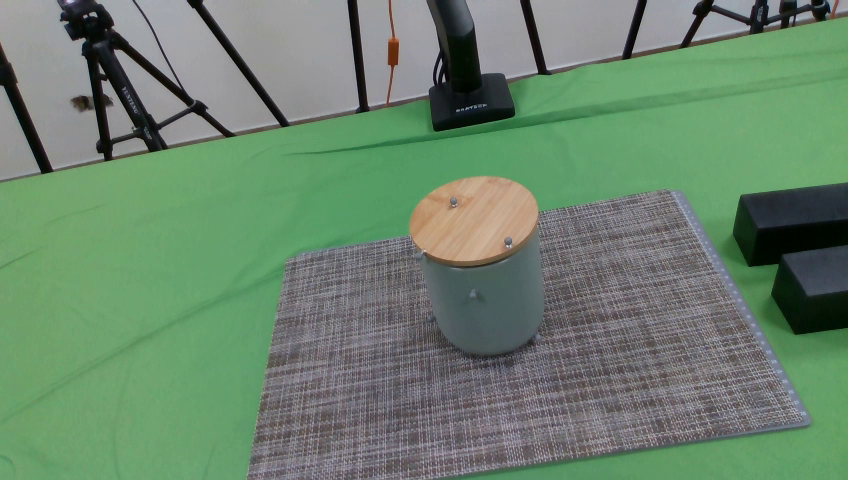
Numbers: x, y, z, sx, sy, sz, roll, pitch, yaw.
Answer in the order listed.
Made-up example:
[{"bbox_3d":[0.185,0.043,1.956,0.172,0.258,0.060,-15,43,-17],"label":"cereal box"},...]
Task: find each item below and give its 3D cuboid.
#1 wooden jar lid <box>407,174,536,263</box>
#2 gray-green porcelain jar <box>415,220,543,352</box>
[{"bbox_3d":[0.040,-0.016,0.506,0.108,0.021,0.107,-8,43,8],"label":"wooden jar lid"},{"bbox_3d":[0.053,0.030,0.549,0.106,0.128,0.105,-8,42,7],"label":"gray-green porcelain jar"}]
